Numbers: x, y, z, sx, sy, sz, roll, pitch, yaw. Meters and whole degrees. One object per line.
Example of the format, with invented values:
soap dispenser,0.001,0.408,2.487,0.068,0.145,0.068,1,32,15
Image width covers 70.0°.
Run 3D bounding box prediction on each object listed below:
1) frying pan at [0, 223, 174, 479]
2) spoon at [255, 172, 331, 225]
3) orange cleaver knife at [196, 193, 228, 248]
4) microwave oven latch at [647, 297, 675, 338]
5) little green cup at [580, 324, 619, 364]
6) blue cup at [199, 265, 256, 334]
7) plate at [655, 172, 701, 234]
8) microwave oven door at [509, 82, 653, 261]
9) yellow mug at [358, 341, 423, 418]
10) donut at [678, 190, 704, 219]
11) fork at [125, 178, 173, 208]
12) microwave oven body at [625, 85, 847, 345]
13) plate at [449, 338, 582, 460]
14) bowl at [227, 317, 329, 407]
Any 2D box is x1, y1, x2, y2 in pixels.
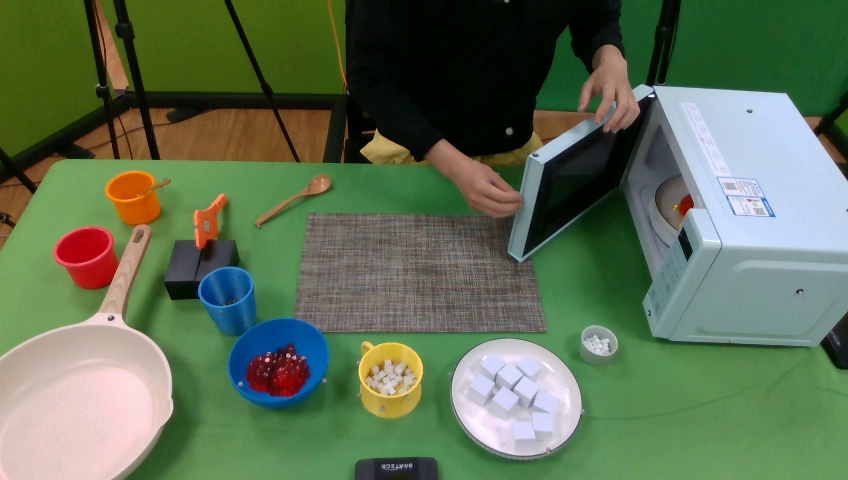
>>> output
frying pan,-0.504,0.169,0.941,0.307,0.103,0.485,5,54,-1
spoon,-0.272,-0.087,1.257,0.041,0.022,0.193,43,57,17
orange cleaver knife,-0.406,-0.041,1.163,0.012,0.077,0.210,0,18,-3
microwave oven latch,0.413,0.133,1.060,0.030,0.029,0.078,5,46,2
little green cup,0.296,0.179,1.031,0.061,0.039,0.061,2,46,-2
blue cup,-0.321,0.107,1.014,0.093,0.101,0.092,2,48,-2
plate,0.556,-0.052,1.187,0.209,0.038,0.208,2,47,-2
microwave oven door,0.307,-0.136,1.169,0.356,0.245,0.039,-34,57,-31
yellow mug,-0.062,0.210,0.961,0.100,0.064,0.130,-29,54,-27
donut,0.543,-0.060,1.173,0.099,0.048,0.098,1,44,-1
fork,-0.525,-0.090,1.154,0.207,0.019,0.028,-17,27,45
microwave oven body,0.568,-0.054,1.116,0.326,0.261,0.439,2,46,-1
plate,0.141,0.251,0.955,0.208,0.039,0.206,2,46,-2
bowl,-0.222,0.203,0.947,0.151,0.077,0.150,2,46,-2
